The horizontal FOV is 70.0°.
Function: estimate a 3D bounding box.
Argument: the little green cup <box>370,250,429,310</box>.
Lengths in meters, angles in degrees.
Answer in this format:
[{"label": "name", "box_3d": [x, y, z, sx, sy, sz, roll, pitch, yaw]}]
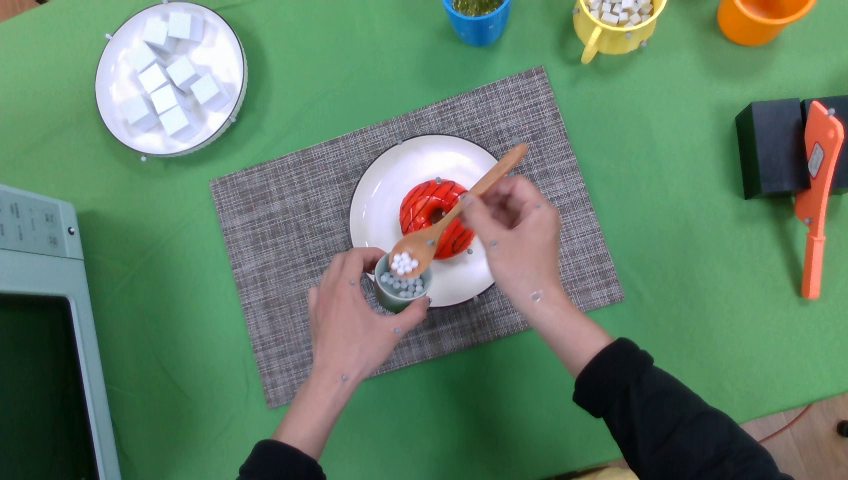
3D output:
[{"label": "little green cup", "box_3d": [-0.028, 0.043, 0.636, 0.062, 0.039, 0.061, 7, 54, -9]}]

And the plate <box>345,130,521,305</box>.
[{"label": "plate", "box_3d": [0.011, -0.026, 0.723, 0.209, 0.038, 0.208, -1, 84, 8]}]

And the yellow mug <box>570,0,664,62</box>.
[{"label": "yellow mug", "box_3d": [0.217, -0.267, 0.709, 0.099, 0.064, 0.131, 31, 90, 9]}]

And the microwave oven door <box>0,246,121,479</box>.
[{"label": "microwave oven door", "box_3d": [-0.431, 0.179, 0.644, 0.039, 0.245, 0.354, -15, 82, 6]}]

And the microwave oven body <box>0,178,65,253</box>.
[{"label": "microwave oven body", "box_3d": [-0.580, 0.176, 0.671, 0.326, 0.261, 0.440, -15, 83, 6]}]

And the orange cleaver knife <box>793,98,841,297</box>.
[{"label": "orange cleaver knife", "box_3d": [0.414, -0.042, 0.650, 0.012, 0.077, 0.213, -3, 113, 10]}]

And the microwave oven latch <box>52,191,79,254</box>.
[{"label": "microwave oven latch", "box_3d": [-0.466, -0.021, 0.773, 0.030, 0.029, 0.079, -13, 83, 6]}]

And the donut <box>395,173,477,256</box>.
[{"label": "donut", "box_3d": [0.014, -0.030, 0.712, 0.099, 0.048, 0.099, -1, 85, 9]}]

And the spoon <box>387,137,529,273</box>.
[{"label": "spoon", "box_3d": [0.029, -0.029, 0.572, 0.194, 0.022, 0.041, -43, 79, 35]}]

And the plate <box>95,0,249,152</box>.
[{"label": "plate", "box_3d": [-0.324, -0.213, 0.793, 0.207, 0.039, 0.207, -1, 84, 8]}]

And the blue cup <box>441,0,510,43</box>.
[{"label": "blue cup", "box_3d": [0.063, -0.280, 0.714, 0.092, 0.100, 0.092, -1, 85, 7]}]
